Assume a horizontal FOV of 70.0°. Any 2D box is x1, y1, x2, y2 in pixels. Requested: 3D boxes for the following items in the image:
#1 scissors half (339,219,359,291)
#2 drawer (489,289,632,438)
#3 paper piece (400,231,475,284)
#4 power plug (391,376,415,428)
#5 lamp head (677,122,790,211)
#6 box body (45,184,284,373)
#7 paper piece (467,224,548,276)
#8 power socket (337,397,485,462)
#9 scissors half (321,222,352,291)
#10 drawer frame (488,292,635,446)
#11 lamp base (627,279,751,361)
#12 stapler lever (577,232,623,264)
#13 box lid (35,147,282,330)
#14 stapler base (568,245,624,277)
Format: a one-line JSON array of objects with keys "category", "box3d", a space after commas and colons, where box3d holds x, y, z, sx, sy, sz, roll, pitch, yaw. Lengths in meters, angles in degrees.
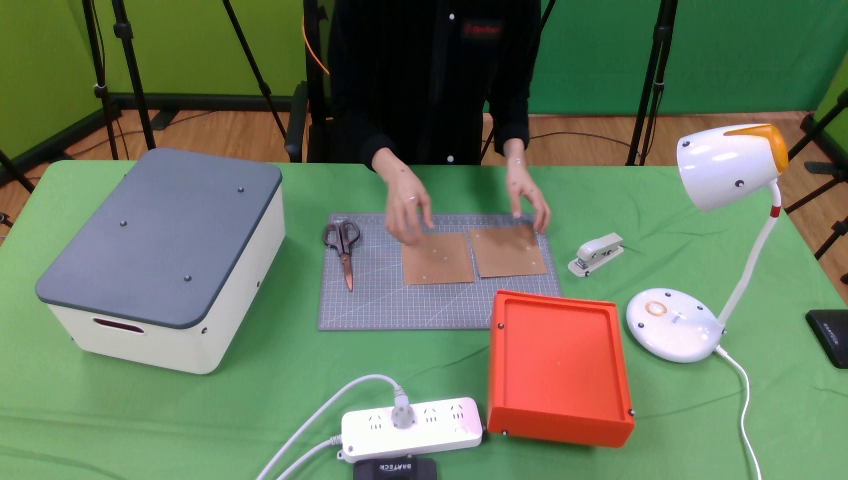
[{"category": "scissors half", "box3d": [-0.144, 0.027, 1.163, 0.040, 0.013, 0.174, -6, 51, 0]}, {"category": "drawer", "box3d": [0.203, 0.185, 0.934, 0.194, 0.073, 0.210, 7, 47, 1]}, {"category": "paper piece", "box3d": [0.024, 0.031, 1.175, 0.135, 0.004, 0.135, -1, 46, -5]}, {"category": "power plug", "box3d": [-0.030, 0.249, 0.917, 0.035, 0.053, 0.072, 3, 46, -1]}, {"category": "lamp head", "box3d": [0.423, -0.104, 0.819, 0.122, 0.113, 0.112, -13, 33, 39]}, {"category": "box body", "box3d": [-0.415, 0.029, 1.040, 0.254, 0.161, 0.362, 10, 46, 5]}, {"category": "paper piece", "box3d": [0.163, 0.019, 1.199, 0.136, 0.009, 0.137, -1, 45, -10]}, {"category": "power socket", "box3d": [-0.018, 0.285, 0.915, 0.227, 0.033, 0.071, -4, 46, -8]}, {"category": "scissors half", "box3d": [-0.164, 0.031, 1.160, 0.040, 0.013, 0.174, -16, 52, -15]}, {"category": "drawer frame", "box3d": [0.204, 0.191, 0.931, 0.202, 0.083, 0.212, 7, 45, 2]}, {"category": "lamp base", "box3d": [0.460, 0.100, 1.027, 0.178, 0.181, 0.160, 27, 51, 17]}, {"category": "stapler lever", "box3d": [0.344, 0.010, 1.178, 0.118, 0.040, 0.026, -26, 56, -29]}, {"category": "box lid", "box3d": [-0.411, -0.023, 0.987, 0.263, 0.015, 0.369, 10, 47, 5]}, {"category": "stapler base", "box3d": [0.341, 0.029, 1.196, 0.130, 0.024, 0.041, -26, 56, -28]}]
